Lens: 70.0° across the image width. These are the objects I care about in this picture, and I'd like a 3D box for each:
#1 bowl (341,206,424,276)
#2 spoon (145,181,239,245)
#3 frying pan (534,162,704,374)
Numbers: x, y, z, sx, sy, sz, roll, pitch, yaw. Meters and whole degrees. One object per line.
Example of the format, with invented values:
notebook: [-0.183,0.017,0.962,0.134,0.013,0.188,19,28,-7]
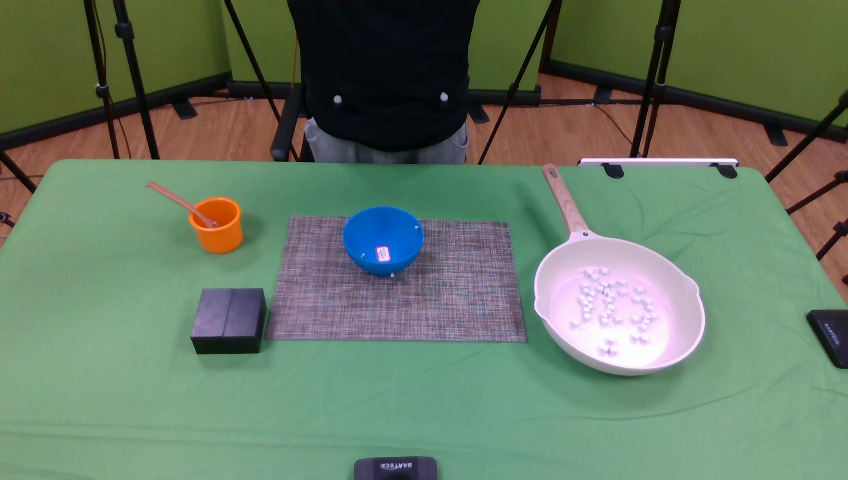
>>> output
bowl: [-0.079,0.014,1.133,0.151,0.077,0.150,2,46,-2]
spoon: [-0.428,-0.052,1.126,0.021,0.195,0.041,-27,34,34]
frying pan: [0.314,0.034,1.133,0.307,0.103,0.484,-7,56,-12]
